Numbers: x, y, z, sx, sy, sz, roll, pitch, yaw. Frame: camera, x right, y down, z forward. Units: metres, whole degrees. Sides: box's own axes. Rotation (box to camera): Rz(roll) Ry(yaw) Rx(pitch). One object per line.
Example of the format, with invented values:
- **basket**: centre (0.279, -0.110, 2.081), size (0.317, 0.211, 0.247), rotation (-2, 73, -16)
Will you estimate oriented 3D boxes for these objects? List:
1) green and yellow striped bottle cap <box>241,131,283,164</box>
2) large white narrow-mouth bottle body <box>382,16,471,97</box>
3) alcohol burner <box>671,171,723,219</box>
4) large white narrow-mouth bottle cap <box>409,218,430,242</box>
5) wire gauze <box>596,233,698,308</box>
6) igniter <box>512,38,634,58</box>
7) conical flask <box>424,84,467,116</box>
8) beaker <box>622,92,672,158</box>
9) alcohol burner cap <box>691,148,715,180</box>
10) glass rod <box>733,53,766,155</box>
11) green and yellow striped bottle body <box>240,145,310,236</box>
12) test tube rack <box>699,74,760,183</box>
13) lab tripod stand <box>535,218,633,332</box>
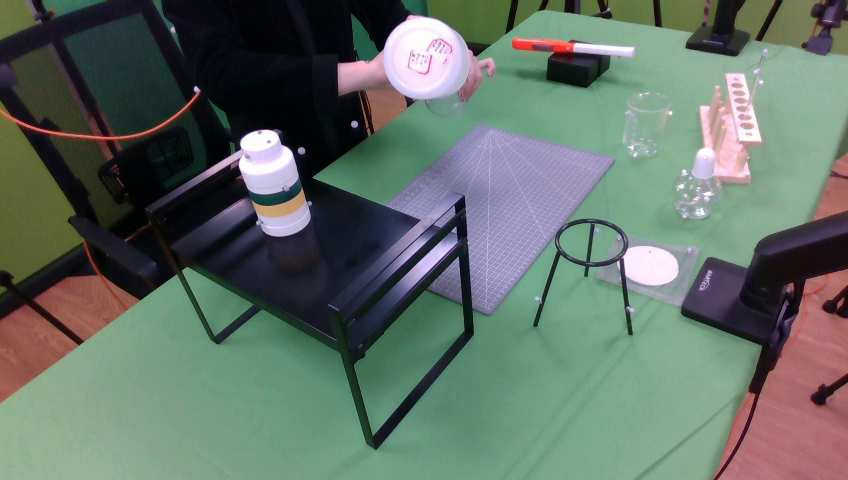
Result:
- **green and yellow striped bottle cap**: centre (-0.187, -0.107, 0.695), size (0.045, 0.020, 0.045), rotation (-3, 39, 3)
- **large white narrow-mouth bottle body**: centre (0.013, -0.250, 0.848), size (0.101, 0.102, 0.195), rotation (3, 13, 11)
- **alcohol burner**: centre (0.434, -0.093, 0.955), size (0.078, 0.119, 0.077), rotation (-3, 43, 3)
- **large white narrow-mouth bottle cap**: centre (-0.008, -0.017, 0.999), size (0.038, 0.024, 0.037), rotation (-3, 39, 3)
- **wire gauze**: centre (0.331, 0.037, 0.897), size (0.124, 0.011, 0.121), rotation (18, 47, 26)
- **igniter**: centre (0.328, -0.433, 1.360), size (0.275, 0.025, 0.057), rotation (12, 33, 20)
- **conical flask**: centre (0.035, -0.261, 1.002), size (0.075, 0.122, 0.075), rotation (0, 80, 3)
- **beaker**: centre (0.402, -0.210, 1.106), size (0.074, 0.101, 0.083), rotation (-9, 40, -2)
- **alcohol burner cap**: centre (0.432, -0.120, 0.930), size (0.034, 0.048, 0.033), rotation (-7, 48, 8)
- **glass rod**: centre (0.540, -0.220, 1.007), size (0.008, 0.201, 0.008), rotation (-5, 46, 6)
- **green and yellow striped bottle body**: centre (-0.181, -0.069, 0.729), size (0.063, 0.120, 0.063), rotation (-4, 40, 4)
- **test tube rack**: centre (0.547, -0.208, 1.095), size (0.066, 0.085, 0.242), rotation (6, 42, 16)
- **lab tripod stand**: centre (0.215, 0.050, 0.803), size (0.148, 0.132, 0.147), rotation (-4, 42, 4)
